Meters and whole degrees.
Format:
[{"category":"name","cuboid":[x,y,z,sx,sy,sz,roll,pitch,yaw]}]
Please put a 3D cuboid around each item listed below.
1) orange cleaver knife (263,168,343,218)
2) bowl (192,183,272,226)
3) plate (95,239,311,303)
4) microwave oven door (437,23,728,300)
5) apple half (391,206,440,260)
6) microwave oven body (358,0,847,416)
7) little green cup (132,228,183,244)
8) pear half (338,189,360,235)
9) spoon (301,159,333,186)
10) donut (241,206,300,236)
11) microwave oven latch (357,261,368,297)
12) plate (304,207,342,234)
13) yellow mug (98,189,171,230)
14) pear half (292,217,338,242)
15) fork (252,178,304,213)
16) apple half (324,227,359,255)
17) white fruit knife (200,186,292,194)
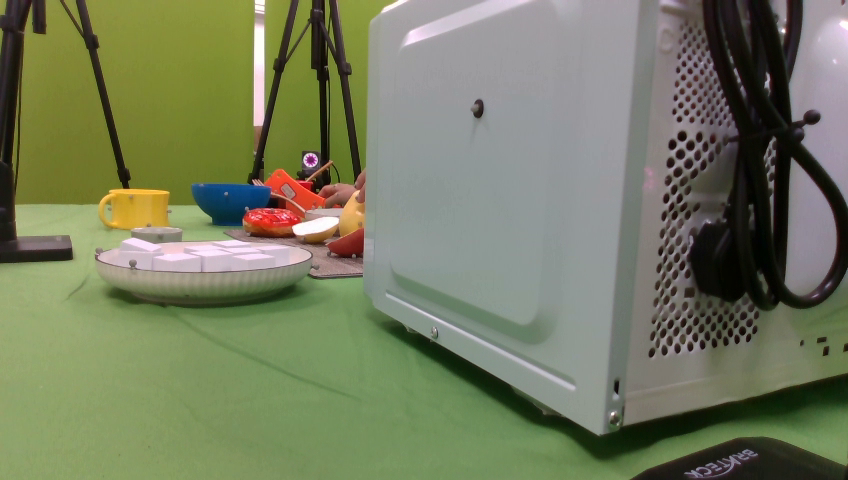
[{"category":"orange cleaver knife","cuboid":[-0.262,-0.088,1.353,0.211,0.077,0.012,28,13,-1]},{"category":"bowl","cuboid":[-0.381,-0.071,1.202,0.151,0.077,0.151,3,7,0]},{"category":"plate","cuboid":[-0.224,0.031,0.629,0.208,0.039,0.207,2,8,0]},{"category":"microwave oven door","cuboid":[0.180,-0.072,0.621,0.358,0.243,0.039,-2,9,-29]},{"category":"apple half","cuboid":[-0.006,-0.009,0.837,0.053,0.074,0.081,10,6,23]},{"category":"microwave oven body","cuboid":[0.211,-0.047,0.474,0.444,0.260,0.324,-1,7,-28]},{"category":"little green cup","cuboid":[-0.342,0.006,0.779,0.061,0.038,0.061,2,8,0]},{"category":"pear half","cuboid":[-0.088,-0.042,0.922,0.055,0.110,0.077,8,12,35]},{"category":"spoon","cuboid":[-0.316,-0.158,1.639,0.194,0.022,0.041,-49,32,-20]},{"category":"donut","cuboid":[-0.263,-0.031,1.039,0.099,0.048,0.099,4,10,0]},{"category":"microwave oven latch","cuboid":[-0.019,0.033,0.530,0.079,0.029,0.030,-1,7,-26]},{"category":"plate","cuboid":[-0.123,-0.037,1.149,0.209,0.038,0.209,2,7,0]},{"category":"yellow mug","cuboid":[-0.519,-0.055,1.081,0.099,0.064,0.131,7,10,26]},{"category":"pear half","cuboid":[-0.175,-0.014,0.977,0.087,0.031,0.071,-3,15,36]},{"category":"fork","cuboid":[-0.295,-0.084,1.292,0.206,0.018,0.028,29,11,25]},{"category":"apple half","cuboid":[-0.095,0.002,0.848,0.081,0.033,0.081,-21,-1,0]},{"category":"white fruit knife","cuboid":[-0.399,-0.111,1.368,0.208,0.016,0.027,-4,-19,-30]}]
